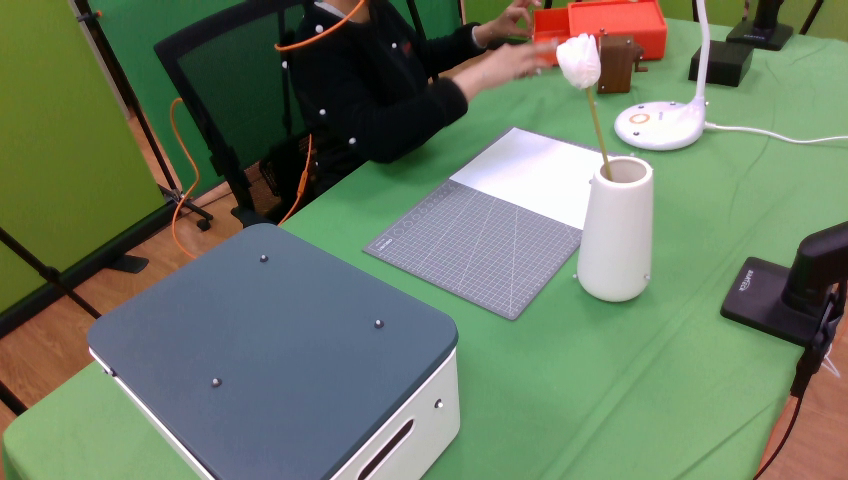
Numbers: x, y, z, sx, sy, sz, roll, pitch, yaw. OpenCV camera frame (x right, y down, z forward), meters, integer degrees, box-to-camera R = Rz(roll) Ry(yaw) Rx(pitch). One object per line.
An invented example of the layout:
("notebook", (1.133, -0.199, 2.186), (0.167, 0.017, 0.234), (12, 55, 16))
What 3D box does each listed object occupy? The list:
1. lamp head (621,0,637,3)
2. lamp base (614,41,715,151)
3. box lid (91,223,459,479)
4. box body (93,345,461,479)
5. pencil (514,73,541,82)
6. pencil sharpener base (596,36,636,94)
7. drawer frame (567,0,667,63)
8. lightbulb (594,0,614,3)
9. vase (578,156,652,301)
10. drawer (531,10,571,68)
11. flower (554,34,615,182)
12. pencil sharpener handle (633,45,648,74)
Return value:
("lamp head", (0.319, -0.453, 0.962), (0.113, 0.123, 0.112), (20, 33, -13))
("lamp base", (0.449, -0.277, 1.106), (0.179, 0.181, 0.160), (1, 41, 9))
("box lid", (-0.174, 0.103, 0.666), (0.368, 0.015, 0.264), (24, 48, 35))
("box body", (-0.162, 0.170, 0.708), (0.361, 0.161, 0.255), (25, 50, 34))
("pencil", (0.211, -0.330, 1.232), (0.012, 0.012, 0.195), (10, 21, 22))
("pencil sharpener base", (0.405, -0.369, 1.280), (0.076, 0.107, 0.061), (2, 41, 13))
("drawer frame", (0.448, -0.497, 1.443), (0.213, 0.083, 0.201), (0, 40, 10))
("lightbulb", (0.305, -0.437, 0.977), (0.060, 0.107, 0.059), (12, 45, -11))
("vase", (0.261, -0.011, 0.812), (0.098, 0.201, 0.097), (-4, 40, 4))
("drawer", (0.364, -0.493, 1.458), (0.211, 0.073, 0.194), (-1, 40, 9))
("flower", (0.237, -0.083, 0.774), (0.044, 0.363, 0.038), (-22, 26, 6))
("pencil sharpener handle", (0.454, -0.378, 1.262), (0.030, 0.068, 0.036), (2, 47, 13))
